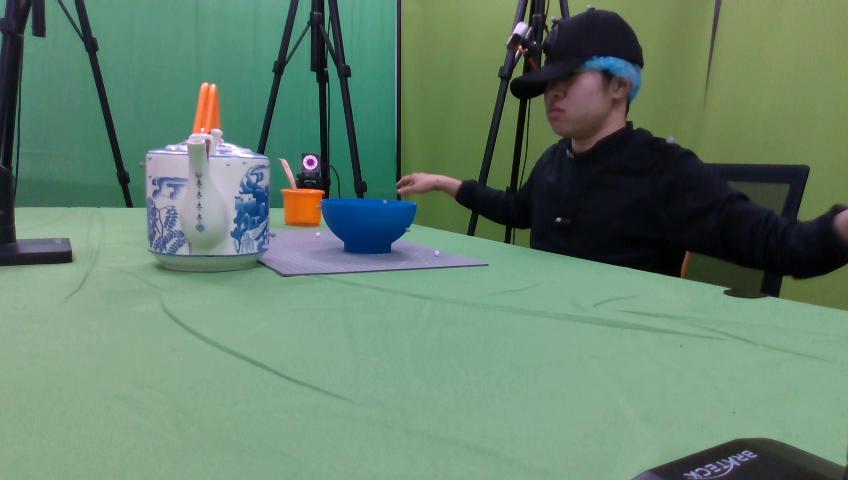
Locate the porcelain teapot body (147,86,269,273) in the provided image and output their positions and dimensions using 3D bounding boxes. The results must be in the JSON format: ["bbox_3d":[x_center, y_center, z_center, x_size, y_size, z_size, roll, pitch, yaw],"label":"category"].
[{"bbox_3d":[-0.263,-0.074,0.738,0.146,0.225,0.204,1,8,-16],"label":"porcelain teapot body"}]

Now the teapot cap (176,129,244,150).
[{"bbox_3d":[-0.268,-0.117,0.760,0.085,0.044,0.085,4,9,0],"label":"teapot cap"}]

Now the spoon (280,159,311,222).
[{"bbox_3d":[-0.285,-0.111,1.320,0.042,0.193,0.021,-3,-35,-31],"label":"spoon"}]

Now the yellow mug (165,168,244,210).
[{"bbox_3d":[-0.370,-0.086,1.027,0.131,0.064,0.100,5,7,4],"label":"yellow mug"}]

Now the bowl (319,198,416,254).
[{"bbox_3d":[-0.089,-0.022,0.941,0.151,0.077,0.151,2,7,0],"label":"bowl"}]
